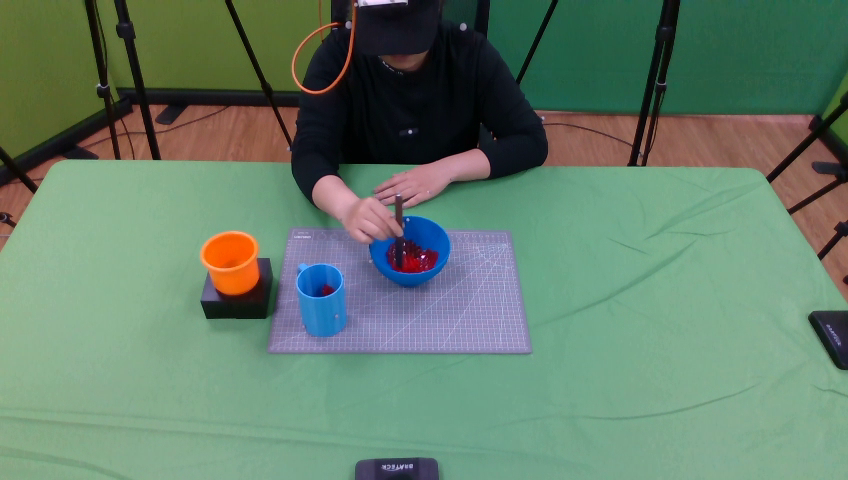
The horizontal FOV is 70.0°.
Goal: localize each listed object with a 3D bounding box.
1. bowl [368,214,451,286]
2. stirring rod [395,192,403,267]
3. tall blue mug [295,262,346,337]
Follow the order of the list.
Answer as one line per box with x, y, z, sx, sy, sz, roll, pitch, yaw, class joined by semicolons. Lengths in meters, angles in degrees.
-0.028;0.031;1.122;0.151;0.077;0.150;2;46;-2;bowl
-0.043;-0.014;1.055;0.014;0.177;0.006;18;47;15;stirring rod
-0.187;0.096;1.027;0.107;0.108;0.077;21;49;16;tall blue mug
